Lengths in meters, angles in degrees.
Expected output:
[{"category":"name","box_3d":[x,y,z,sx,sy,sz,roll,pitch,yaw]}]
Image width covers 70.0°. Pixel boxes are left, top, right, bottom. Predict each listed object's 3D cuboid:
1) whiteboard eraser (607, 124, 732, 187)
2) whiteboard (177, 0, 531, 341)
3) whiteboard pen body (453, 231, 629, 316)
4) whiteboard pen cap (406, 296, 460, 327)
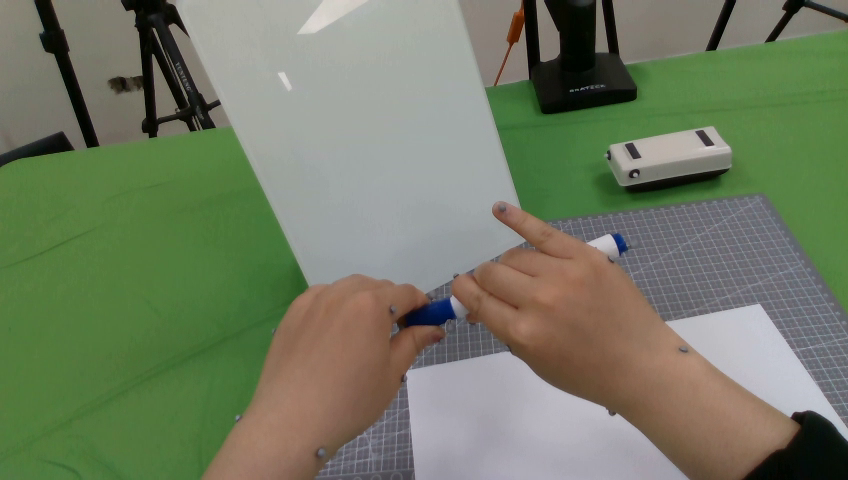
[{"category":"whiteboard eraser","box_3d":[0.254,-0.086,0.631,0.112,0.042,0.055,-9,43,3]},{"category":"whiteboard","box_3d":[-0.060,-0.104,0.576,0.217,0.307,0.142,-26,22,-14]},{"category":"whiteboard pen body","box_3d":[0.061,0.026,0.387,0.141,0.017,0.017,-22,40,6]},{"category":"whiteboard pen cap","box_3d":[0.006,0.046,0.389,0.033,0.018,0.018,-7,40,-8]}]
